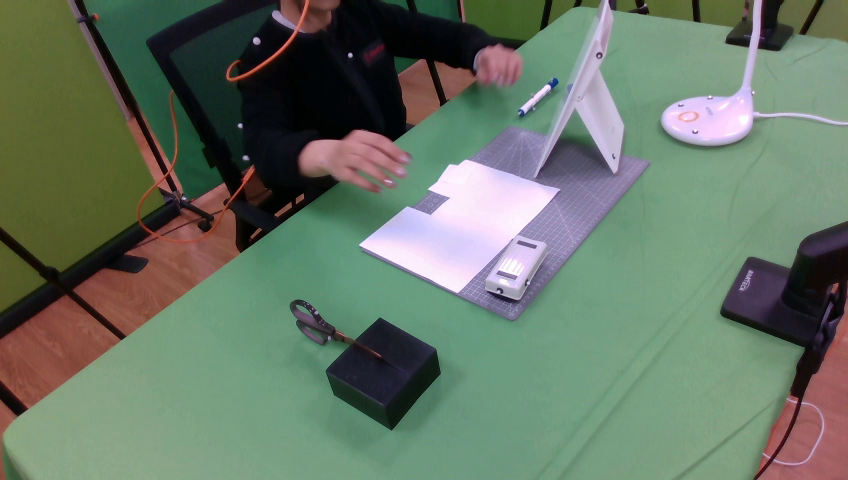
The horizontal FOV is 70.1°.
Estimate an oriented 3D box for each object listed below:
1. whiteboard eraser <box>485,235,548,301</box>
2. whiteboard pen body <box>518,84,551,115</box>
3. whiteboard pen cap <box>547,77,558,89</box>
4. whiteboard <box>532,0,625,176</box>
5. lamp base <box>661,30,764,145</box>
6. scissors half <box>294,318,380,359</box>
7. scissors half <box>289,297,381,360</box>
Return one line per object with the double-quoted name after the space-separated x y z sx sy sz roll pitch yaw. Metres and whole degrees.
0.137 0.042 0.887 0.055 0.042 0.113 15 46 27 "whiteboard eraser"
0.242 -0.306 1.290 0.017 0.017 0.141 24 52 32 "whiteboard pen body"
0.279 -0.341 1.321 0.018 0.018 0.033 22 51 31 "whiteboard pen cap"
0.320 -0.259 1.050 0.144 0.306 0.217 21 45 5 "whiteboard"
0.535 -0.287 1.096 0.179 0.181 0.159 -10 40 -4 "lamp base"
-0.117 0.134 0.809 0.173 0.040 0.013 9 37 43 "scissors half"
-0.120 0.117 0.798 0.174 0.040 0.013 26 42 31 "scissors half"
